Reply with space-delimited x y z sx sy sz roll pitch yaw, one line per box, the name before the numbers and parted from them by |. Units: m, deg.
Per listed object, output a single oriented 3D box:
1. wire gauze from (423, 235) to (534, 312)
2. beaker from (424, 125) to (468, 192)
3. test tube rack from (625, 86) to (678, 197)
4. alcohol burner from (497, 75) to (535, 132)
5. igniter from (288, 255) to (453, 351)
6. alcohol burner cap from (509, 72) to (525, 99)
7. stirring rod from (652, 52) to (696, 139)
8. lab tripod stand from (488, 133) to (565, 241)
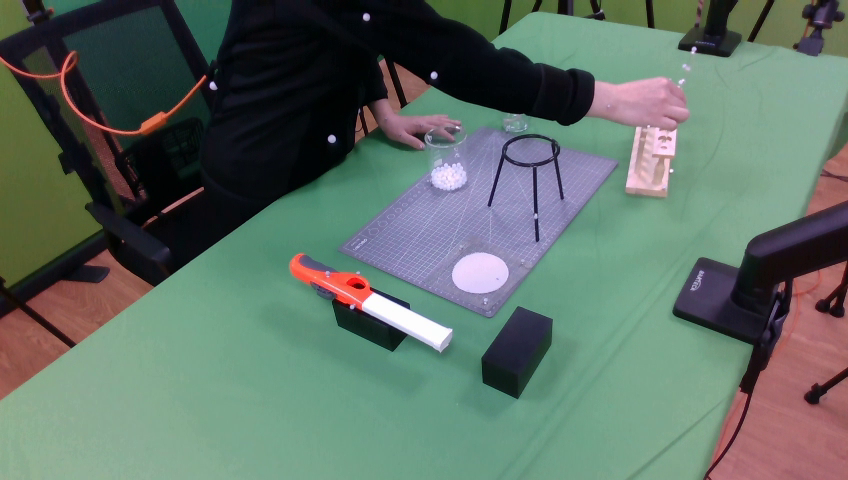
wire gauze | 0.082 0.049 0.914 0.120 0.011 0.125 26 53 32
beaker | 0.043 -0.144 1.078 0.073 0.100 0.084 28 51 34
test tube rack | 0.412 -0.184 1.088 0.066 0.085 0.242 9 43 18
alcohol burner | 0.184 -0.278 1.210 0.078 0.119 0.077 -3 43 3
igniter | -0.082 0.079 0.818 0.274 0.025 0.057 22 46 27
alcohol burner cap | 0.181 -0.306 1.186 0.034 0.048 0.033 -7 39 6
stirring rod | 0.390 -0.221 0.948 0.014 0.177 0.006 -34 62 -21
lab tripod stand | 0.169 -0.092 0.972 0.148 0.132 0.147 -5 41 5
